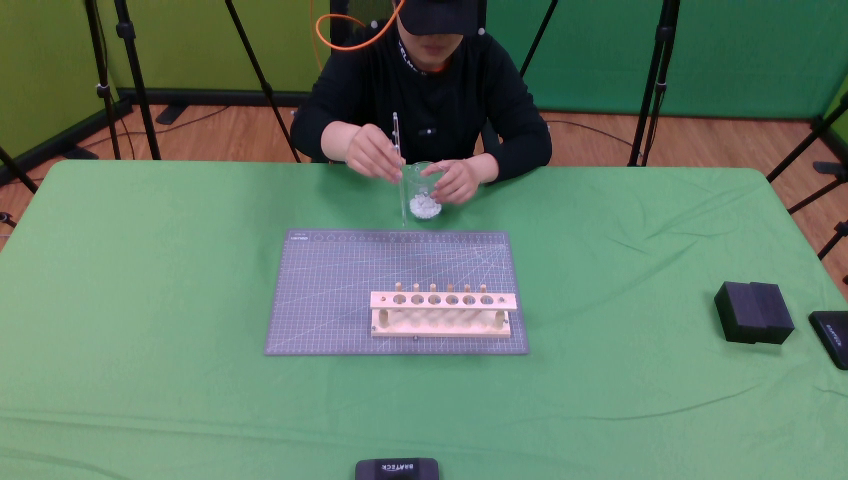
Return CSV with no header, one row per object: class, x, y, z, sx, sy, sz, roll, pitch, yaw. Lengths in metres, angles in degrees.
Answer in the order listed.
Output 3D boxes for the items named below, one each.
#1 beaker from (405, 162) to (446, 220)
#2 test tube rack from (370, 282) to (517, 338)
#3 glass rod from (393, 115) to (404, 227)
beaker,0.004,-0.098,1.223,0.084,0.101,0.073,-15,48,-13
test tube rack,0.030,0.116,1.041,0.242,0.085,0.066,1,46,-3
glass rod,-0.041,-0.106,0.979,0.008,0.200,0.008,-2,34,1
